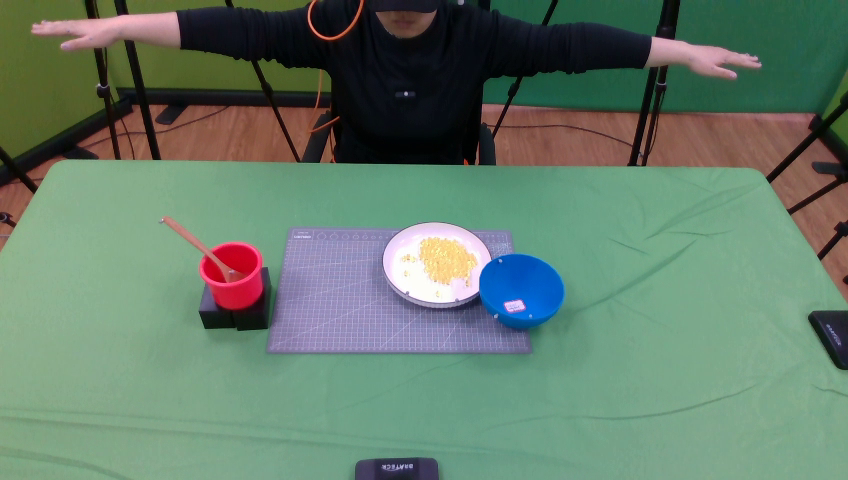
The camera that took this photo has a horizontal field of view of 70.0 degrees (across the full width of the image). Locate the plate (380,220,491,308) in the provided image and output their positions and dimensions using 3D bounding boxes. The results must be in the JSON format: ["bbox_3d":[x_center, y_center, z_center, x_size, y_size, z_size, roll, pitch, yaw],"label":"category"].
[{"bbox_3d":[0.021,0.048,1.137,0.208,0.039,0.206,2,46,-2],"label":"plate"}]

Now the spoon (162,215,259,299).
[{"bbox_3d":[-0.348,0.027,0.992,0.194,0.021,0.041,48,51,-19],"label":"spoon"}]

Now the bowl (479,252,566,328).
[{"bbox_3d":[0.167,0.102,1.067,0.151,0.077,0.150,2,46,-2],"label":"bowl"}]
